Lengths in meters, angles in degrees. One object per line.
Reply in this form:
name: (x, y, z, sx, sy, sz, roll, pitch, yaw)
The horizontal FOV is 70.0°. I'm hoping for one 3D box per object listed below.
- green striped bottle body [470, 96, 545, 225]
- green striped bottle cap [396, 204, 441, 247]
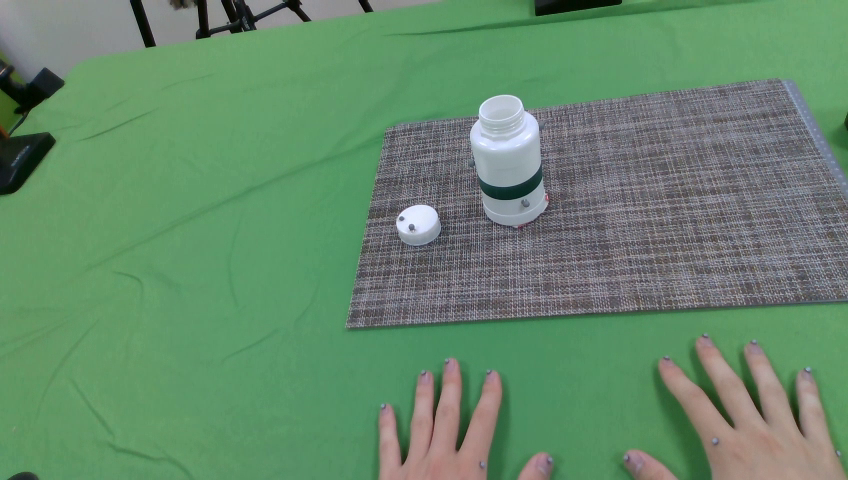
green striped bottle body: (0.079, -0.075, 0.569, 0.063, 0.120, 0.062, -8, 46, 9)
green striped bottle cap: (-0.006, -0.015, 0.612, 0.044, 0.020, 0.044, -6, 47, 7)
